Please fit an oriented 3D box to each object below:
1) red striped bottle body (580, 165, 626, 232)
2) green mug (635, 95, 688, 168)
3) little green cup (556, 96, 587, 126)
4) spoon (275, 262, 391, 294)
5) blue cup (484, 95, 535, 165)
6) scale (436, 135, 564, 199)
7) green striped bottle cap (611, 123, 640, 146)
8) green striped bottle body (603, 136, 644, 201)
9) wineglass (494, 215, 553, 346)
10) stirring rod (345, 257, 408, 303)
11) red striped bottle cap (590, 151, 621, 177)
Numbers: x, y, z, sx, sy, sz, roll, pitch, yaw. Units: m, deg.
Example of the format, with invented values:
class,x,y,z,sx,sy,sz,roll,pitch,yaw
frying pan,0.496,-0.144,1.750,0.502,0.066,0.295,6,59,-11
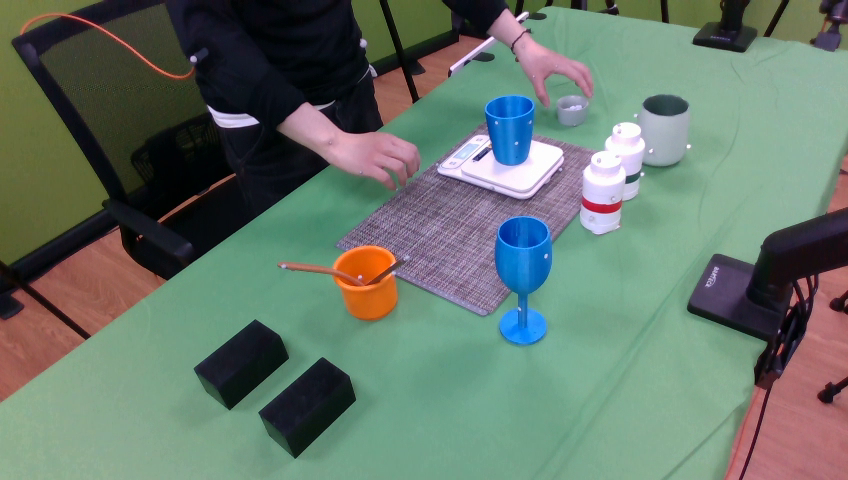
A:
class,x,y,z,sx,sy,sz,roll,pitch,yaw
red striped bottle body,0.278,-0.075,0.942,0.063,0.120,0.062,-4,41,4
green mug,0.421,-0.201,1.081,0.092,0.105,0.125,5,42,15
little green cup,0.295,-0.258,1.214,0.061,0.039,0.061,-4,41,4
spoon,-0.120,0.050,0.830,0.041,0.195,0.021,31,96,45
blue cup,0.150,-0.188,1.053,0.092,0.100,0.092,-5,39,5
scale,0.137,-0.142,1.101,0.199,0.032,0.149,22,48,30
green striped bottle cap,0.322,-0.168,0.963,0.044,0.020,0.044,-3,41,4
green striped bottle body,0.326,-0.128,0.997,0.063,0.120,0.063,-4,41,4
wineglass,0.127,0.055,0.770,0.074,0.173,0.073,-4,40,4
stirring rod,-0.067,0.057,0.814,0.014,0.175,0.006,-23,81,-38
red striped bottle cap,0.273,-0.115,0.907,0.044,0.018,0.044,-4,44,4
